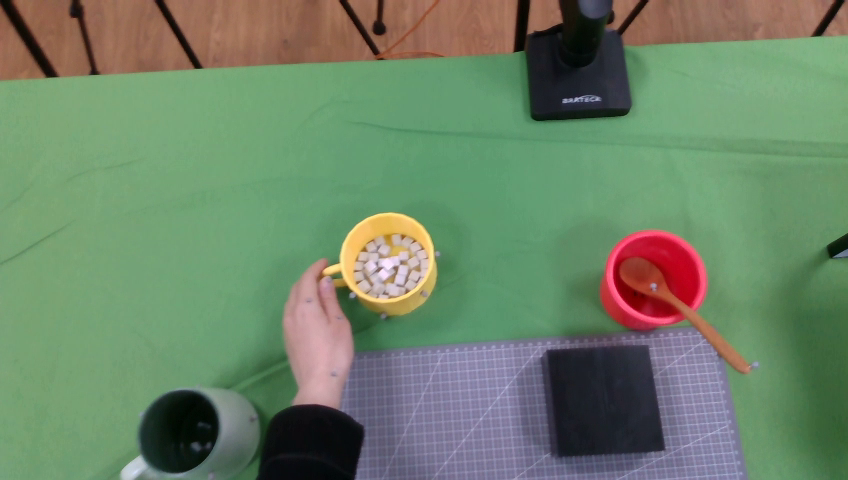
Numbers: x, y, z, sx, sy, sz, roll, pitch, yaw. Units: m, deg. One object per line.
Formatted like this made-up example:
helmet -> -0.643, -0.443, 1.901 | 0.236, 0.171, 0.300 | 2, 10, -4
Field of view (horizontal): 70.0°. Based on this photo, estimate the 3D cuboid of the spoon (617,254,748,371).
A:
spoon -> 0.247, 0.064, 0.592 | 0.041, 0.192, 0.022 | -17, 117, -5

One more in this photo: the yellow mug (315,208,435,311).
yellow mug -> -0.054, 0.026, 0.661 | 0.131, 0.064, 0.099 | -13, 72, 0

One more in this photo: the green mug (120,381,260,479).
green mug -> -0.233, 0.193, 0.594 | 0.125, 0.105, 0.092 | -35, 73, -9
